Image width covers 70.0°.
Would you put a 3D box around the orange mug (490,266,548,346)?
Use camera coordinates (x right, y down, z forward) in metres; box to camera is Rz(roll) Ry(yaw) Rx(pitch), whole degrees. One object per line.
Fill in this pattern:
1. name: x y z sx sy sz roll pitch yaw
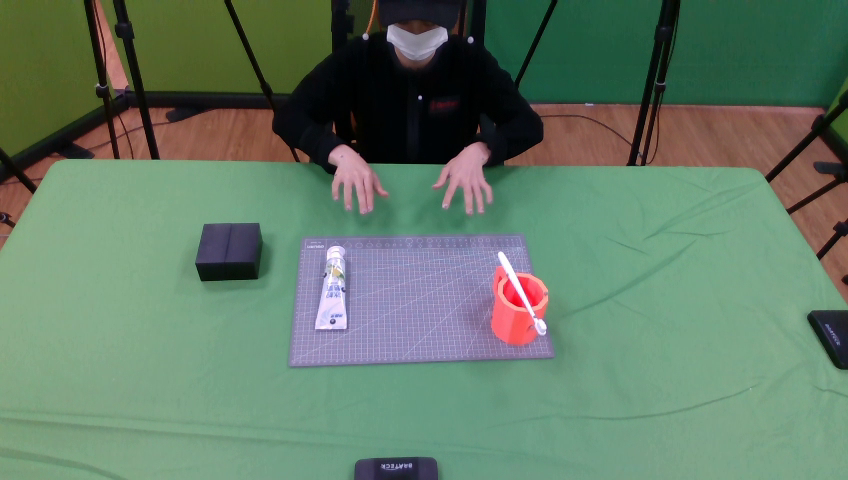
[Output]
1. orange mug: 0.155 0.107 1.051 0.083 0.101 0.125 -15 53 -18

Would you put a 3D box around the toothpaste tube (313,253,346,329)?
1. toothpaste tube: -0.167 0.089 1.092 0.055 0.035 0.164 -4 50 0

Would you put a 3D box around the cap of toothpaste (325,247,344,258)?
1. cap of toothpaste: -0.169 0.027 1.143 0.037 0.037 0.011 -6 46 -10

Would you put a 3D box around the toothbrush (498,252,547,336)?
1. toothbrush: 0.160 0.083 1.001 0.014 0.017 0.180 -14 48 -12
